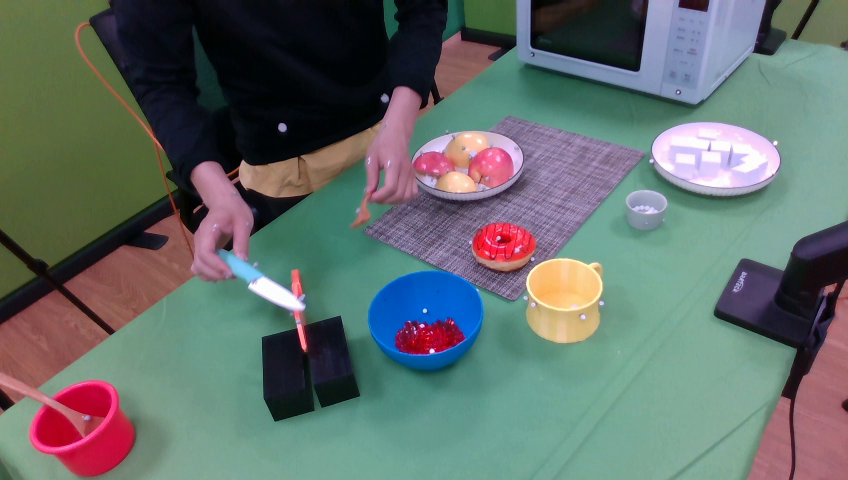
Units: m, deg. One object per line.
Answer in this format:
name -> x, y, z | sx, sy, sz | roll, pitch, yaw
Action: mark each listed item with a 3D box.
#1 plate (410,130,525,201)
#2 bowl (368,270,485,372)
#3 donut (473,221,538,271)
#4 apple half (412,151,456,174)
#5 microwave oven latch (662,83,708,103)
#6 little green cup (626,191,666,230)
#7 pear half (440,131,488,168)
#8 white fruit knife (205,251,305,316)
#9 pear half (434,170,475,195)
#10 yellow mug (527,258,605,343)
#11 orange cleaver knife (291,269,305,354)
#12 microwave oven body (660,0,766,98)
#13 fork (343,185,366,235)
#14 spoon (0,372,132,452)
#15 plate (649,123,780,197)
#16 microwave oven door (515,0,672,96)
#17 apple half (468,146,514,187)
plate -> 0.079, -0.133, 1.101 | 0.209, 0.038, 0.208 | -4, 40, 4
bowl -> 0.007, 0.118, 0.791 | 0.151, 0.077, 0.150 | -5, 40, 4
donut -> 0.123, 0.008, 0.923 | 0.099, 0.048, 0.098 | -3, 38, 3
apple half -> 0.022, -0.144, 1.097 | 0.081, 0.033, 0.081 | 7, 22, -2
microwave oven latch -> 0.518, -0.296, 1.204 | 0.078, 0.029, 0.030 | 27, 52, 35
little green cup -> 0.352, -0.046, 0.963 | 0.061, 0.039, 0.061 | -4, 40, 4
pear half -> 0.064, -0.174, 1.129 | 0.110, 0.056, 0.076 | -6, 36, 5
white fruit knife -> -0.216, 0.053, 0.771 | 0.205, 0.016, 0.027 | 23, 66, 36
pear half -> 0.053, -0.105, 1.051 | 0.071, 0.031, 0.087 | -5, 32, -28
yellow mug -> 0.202, 0.073, 0.824 | 0.131, 0.064, 0.099 | -32, 46, -27
orange cleaver knife -> -0.175, 0.093, 0.844 | 0.012, 0.077, 0.210 | -11, 15, -10
microwave oven body -> 0.472, -0.513, 1.317 | 0.438, 0.261, 0.327 | 26, 51, 34
fork -> -0.098, -0.050, 0.878 | 0.018, 0.028, 0.207 | 5, 20, 2
spoon -> -0.439, 0.195, 0.715 | 0.195, 0.021, 0.041 | 37, 40, -16
plate -> 0.497, -0.135, 1.046 | 0.207, 0.039, 0.206 | -4, 40, 4
microwave oven door -> 0.343, -0.455, 1.259 | 0.353, 0.245, 0.039 | 26, 51, 33
apple half -> 0.119, -0.137, 1.073 | 0.080, 0.053, 0.075 | 25, 49, 38
